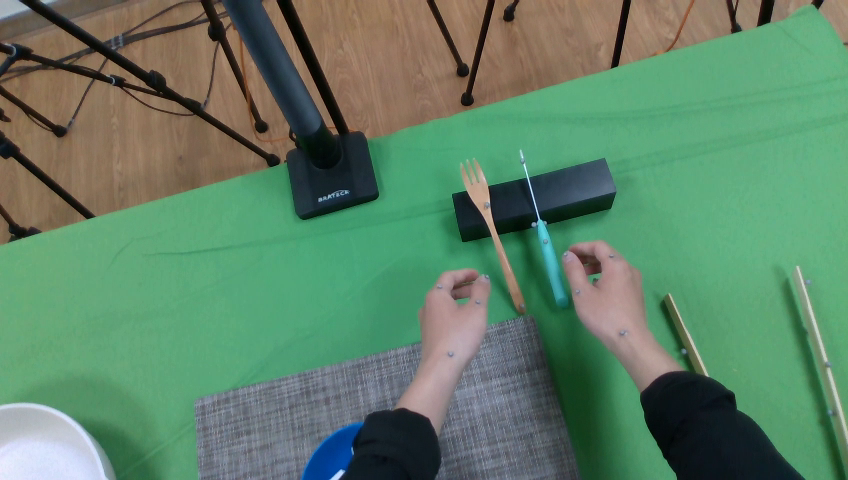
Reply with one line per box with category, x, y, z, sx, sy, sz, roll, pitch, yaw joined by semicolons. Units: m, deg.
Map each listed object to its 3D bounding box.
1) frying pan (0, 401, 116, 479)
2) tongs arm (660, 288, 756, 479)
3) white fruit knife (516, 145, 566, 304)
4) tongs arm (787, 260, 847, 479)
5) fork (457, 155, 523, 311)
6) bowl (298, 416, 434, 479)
frying pan;-0.475;0.431;0.673;0.307;0.104;0.483;-17;59;3
tongs arm;0.352;0.227;0.664;0.028;0.028;0.384;-19;68;-1
white fruit knife;0.143;-0.020;0.758;0.016;0.027;0.207;-16;85;8
tongs arm;0.430;0.209;0.654;0.051;0.027;0.382;-8;69;7
fork;0.085;-0.008;0.763;0.028;0.018;0.207;-20;88;-5
bowl;-0.057;0.278;0.676;0.151;0.077;0.150;-3;68;7
